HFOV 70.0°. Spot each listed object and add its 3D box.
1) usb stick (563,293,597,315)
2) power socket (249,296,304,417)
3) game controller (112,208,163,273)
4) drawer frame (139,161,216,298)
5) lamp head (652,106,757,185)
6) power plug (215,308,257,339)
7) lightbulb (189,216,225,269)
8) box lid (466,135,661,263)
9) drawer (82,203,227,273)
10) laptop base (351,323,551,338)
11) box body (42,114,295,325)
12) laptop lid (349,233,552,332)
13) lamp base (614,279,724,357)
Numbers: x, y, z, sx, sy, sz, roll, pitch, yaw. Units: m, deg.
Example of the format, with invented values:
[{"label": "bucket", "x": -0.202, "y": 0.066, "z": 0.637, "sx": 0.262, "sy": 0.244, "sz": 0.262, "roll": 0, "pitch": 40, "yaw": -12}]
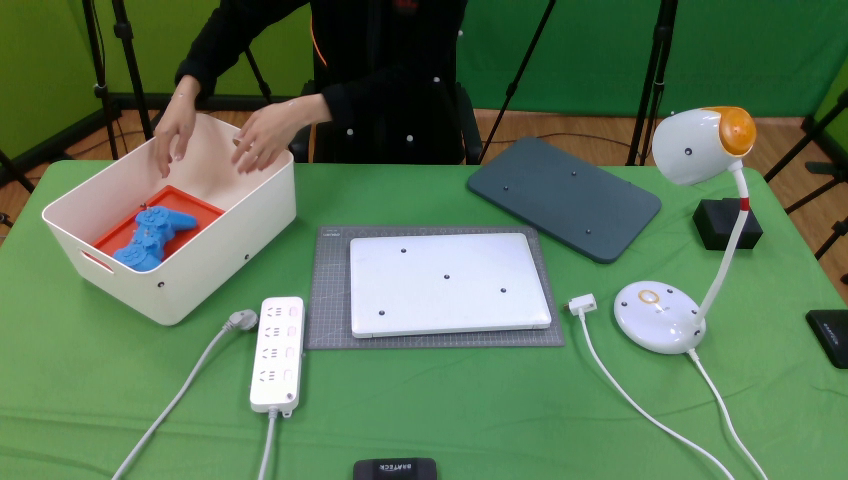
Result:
[{"label": "usb stick", "x": 0.280, "y": 0.118, "z": 1.093, "sx": 0.059, "sy": 0.021, "sz": 0.027, "roll": -18, "pitch": 35, "yaw": 25}, {"label": "power socket", "x": -0.239, "y": 0.182, "z": 0.996, "sx": 0.072, "sy": 0.033, "sz": 0.225, "roll": -2, "pitch": 47, "yaw": -5}, {"label": "game controller", "x": -0.463, "y": 0.001, "z": 1.040, "sx": 0.097, "sy": 0.052, "sz": 0.154, "roll": 4, "pitch": 46, "yaw": 4}, {"label": "drawer frame", "x": -0.435, "y": -0.026, "z": 1.064, "sx": 0.083, "sy": 0.214, "sz": 0.201, "roll": -9, "pitch": 13, "yaw": -30}, {"label": "lamp head", "x": 0.410, "y": -0.139, "z": 0.869, "sx": 0.113, "sy": 0.122, "sz": 0.112, "roll": 0, "pitch": 89, "yaw": -19}, {"label": "power plug", "x": -0.317, "y": 0.143, "z": 1.024, "sx": 0.072, "sy": 0.053, "sz": 0.035, "roll": -32, "pitch": 58, "yaw": -9}, {"label": "lightbulb", "x": -0.404, "y": 0.005, "z": 1.111, "sx": 0.059, "sy": 0.060, "sz": 0.107, "roll": 7, "pitch": 59, "yaw": 3}, {"label": "box lid", "x": 0.306, "y": -0.102, "z": 1.327, "sx": 0.370, "sy": 0.015, "sz": 0.263, "roll": 32, "pitch": 52, "yaw": 25}, {"label": "drawer", "x": -0.455, "y": 0.009, "z": 1.088, "sx": 0.194, "sy": 0.073, "sz": 0.211, "roll": 26, "pitch": 44, "yaw": 16}, {"label": "laptop base", "x": 0.039, "y": 0.080, "z": 1.125, "sx": 0.355, "sy": 0.023, "sz": 0.234, "roll": -2, "pitch": 43, "yaw": -6}, {"label": "box body", "x": -0.437, "y": -0.046, "z": 1.110, "sx": 0.253, "sy": 0.161, "sz": 0.363, "roll": 24, "pitch": 49, "yaw": 19}, {"label": "laptop lid", "x": 0.040, "y": 0.070, "z": 1.119, "sx": 0.357, "sy": 0.013, "sz": 0.240, "roll": -1, "pitch": 44, "yaw": -5}, {"label": "lamp base", "x": 0.436, "y": 0.090, "z": 1.035, "sx": 0.161, "sy": 0.181, "sz": 0.178, "roll": -23, "pitch": 55, "yaw": -23}]
